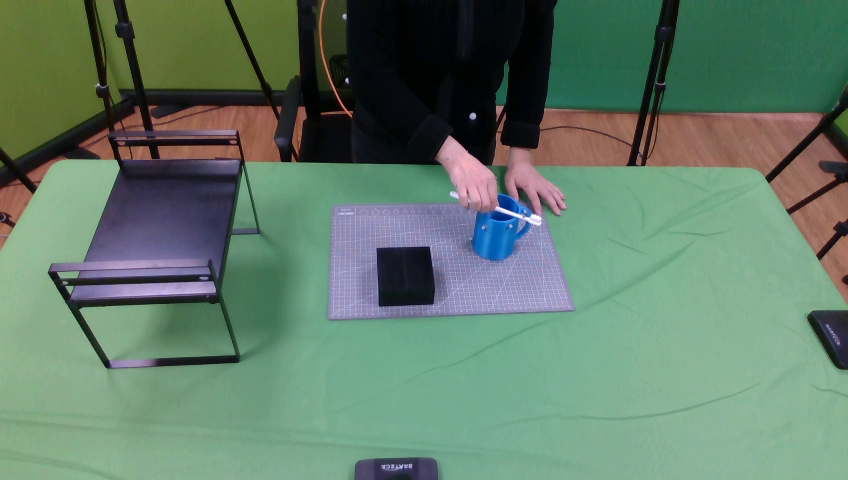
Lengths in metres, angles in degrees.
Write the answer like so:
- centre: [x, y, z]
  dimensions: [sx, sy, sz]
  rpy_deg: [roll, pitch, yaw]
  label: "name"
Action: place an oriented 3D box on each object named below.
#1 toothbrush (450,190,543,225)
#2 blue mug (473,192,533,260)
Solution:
- centre: [0.133, -0.063, 1.123]
  dimensions: [0.181, 0.017, 0.014]
  rpy_deg: [19, 52, 14]
  label: "toothbrush"
- centre: [0.157, -0.029, 1.173]
  dimensions: [0.117, 0.106, 0.082]
  rpy_deg: [-8, 47, -11]
  label: "blue mug"
